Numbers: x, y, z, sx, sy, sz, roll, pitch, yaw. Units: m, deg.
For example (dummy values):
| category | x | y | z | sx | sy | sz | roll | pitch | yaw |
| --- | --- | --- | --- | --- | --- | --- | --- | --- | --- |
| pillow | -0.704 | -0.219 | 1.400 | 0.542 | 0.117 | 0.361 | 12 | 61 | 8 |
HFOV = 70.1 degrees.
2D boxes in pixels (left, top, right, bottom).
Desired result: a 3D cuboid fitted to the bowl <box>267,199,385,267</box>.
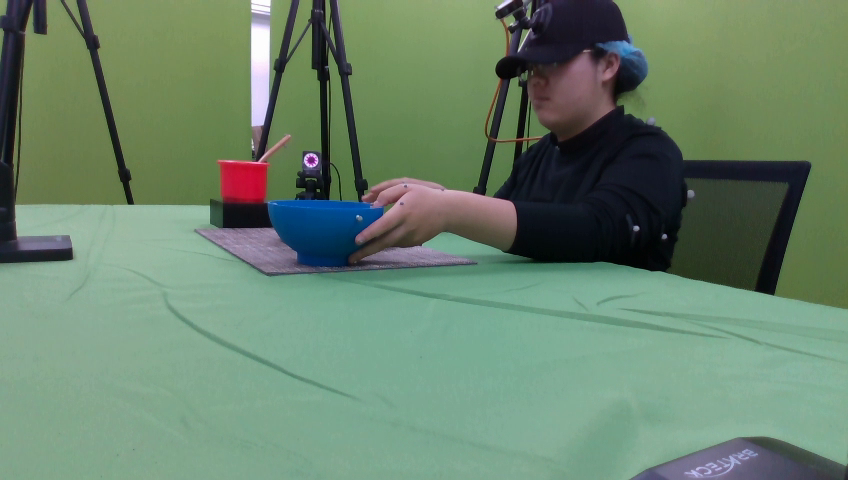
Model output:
| category | x | y | z | sx | sy | sz | roll | pitch | yaw |
| --- | --- | --- | --- | --- | --- | --- | --- | --- | --- |
| bowl | -0.128 | -0.009 | 0.788 | 0.151 | 0.077 | 0.151 | 3 | 7 | 0 |

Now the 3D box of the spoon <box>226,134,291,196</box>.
| category | x | y | z | sx | sy | sz | roll | pitch | yaw |
| --- | --- | --- | --- | --- | --- | --- | --- | --- | --- |
| spoon | -0.320 | -0.149 | 1.187 | 0.041 | 0.022 | 0.194 | 8 | 53 | 36 |

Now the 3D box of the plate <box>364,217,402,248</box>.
| category | x | y | z | sx | sy | sz | roll | pitch | yaw |
| --- | --- | --- | --- | --- | --- | --- | --- | --- | --- |
| plate | -0.140 | -0.015 | 0.993 | 0.208 | 0.039 | 0.207 | 3 | 8 | 0 |
